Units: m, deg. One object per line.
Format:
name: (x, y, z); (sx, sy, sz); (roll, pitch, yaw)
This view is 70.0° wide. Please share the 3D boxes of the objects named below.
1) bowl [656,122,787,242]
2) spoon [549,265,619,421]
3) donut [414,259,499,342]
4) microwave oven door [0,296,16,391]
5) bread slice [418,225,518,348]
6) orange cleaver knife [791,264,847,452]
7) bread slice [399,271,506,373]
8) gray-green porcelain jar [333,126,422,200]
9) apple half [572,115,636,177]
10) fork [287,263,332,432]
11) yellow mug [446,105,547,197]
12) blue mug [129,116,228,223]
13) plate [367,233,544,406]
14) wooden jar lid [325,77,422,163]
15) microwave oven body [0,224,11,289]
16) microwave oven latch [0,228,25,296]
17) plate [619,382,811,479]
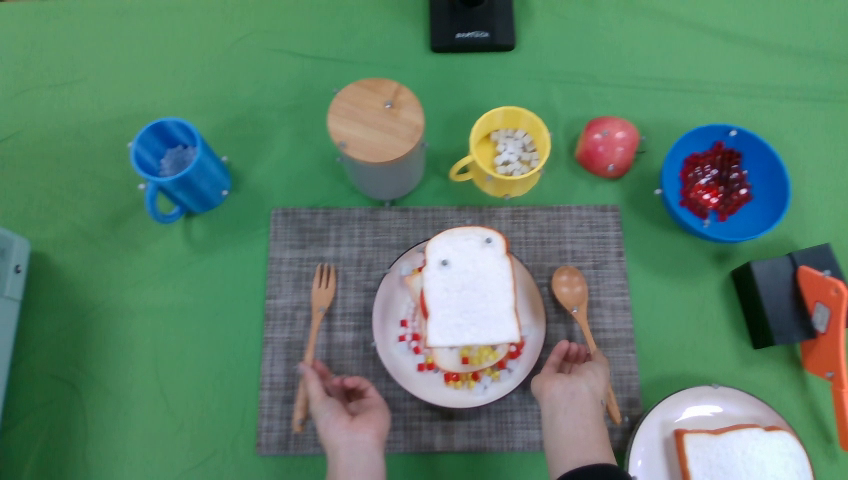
bowl: (0.353, -0.060, 0.750); (0.151, 0.077, 0.150); (0, 74, 1)
spoon: (0.189, 0.116, 0.708); (0.042, 0.022, 0.191); (-9, 58, -8)
donut: (0.038, 0.070, 0.701); (0.099, 0.048, 0.098); (0, 74, 0)
microwave oven door: (-0.508, 0.207, 0.570); (0.039, 0.245, 0.353); (-1, 73, 1)
bread slice: (0.042, 0.050, 0.644); (0.105, 0.019, 0.131); (-5, 87, 5)
orange cleaver knife: (0.454, 0.133, 0.692); (0.012, 0.077, 0.211); (-11, 96, -10)
bread slice: (0.042, 0.090, 0.724); (0.107, 0.018, 0.133); (-18, 77, -4)
gray-green porcelain jar: (-0.054, -0.114, 0.743); (0.106, 0.127, 0.105); (0, 73, 0)
apple half: (0.236, -0.129, 0.784); (0.074, 0.053, 0.080); (21, 75, 9)
fork: (-0.135, 0.119, 0.710); (0.028, 0.019, 0.205); (4, 58, 4)
yellow mug: (0.088, -0.107, 0.771); (0.131, 0.064, 0.099); (-22, 75, -5)
blue mug: (-0.304, -0.076, 0.742); (0.082, 0.106, 0.116); (19, 75, 6)
plate: (0.037, 0.093, 0.724); (0.208, 0.039, 0.206); (0, 74, 0)
wooden jar lid: (-0.056, -0.133, 0.681); (0.108, 0.021, 0.107); (1, 71, -2)
microwave oven body: (-0.654, 0.169, 0.587); (0.326, 0.261, 0.439); (0, 74, 0)
microwave oven latch: (-0.505, 0.027, 0.728); (0.030, 0.029, 0.078); (2, 74, 1)
plate: (0.319, 0.265, 0.677); (0.209, 0.038, 0.208); (0, 74, 1)
